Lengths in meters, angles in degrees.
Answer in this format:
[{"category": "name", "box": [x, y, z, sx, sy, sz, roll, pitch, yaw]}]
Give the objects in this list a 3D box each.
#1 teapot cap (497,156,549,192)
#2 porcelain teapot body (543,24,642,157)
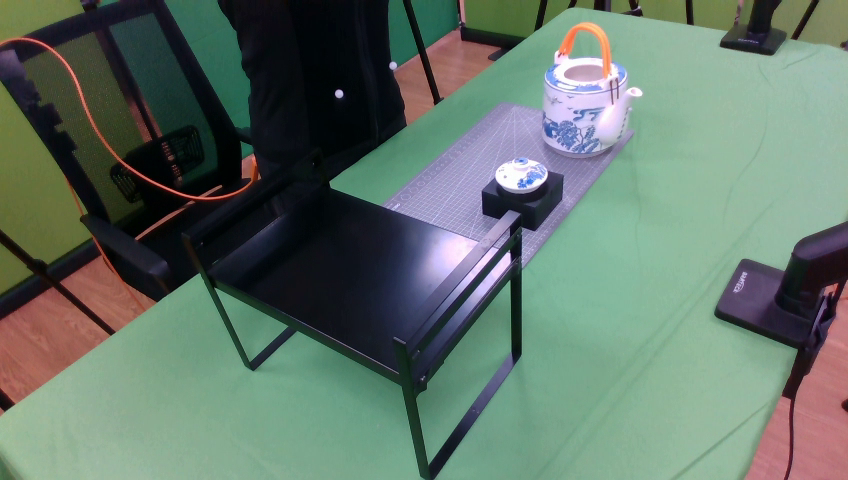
[{"category": "teapot cap", "box": [0.161, -0.113, 0.986, 0.085, 0.044, 0.085, -2, 43, 3]}, {"category": "porcelain teapot body", "box": [0.305, -0.258, 1.070, 0.146, 0.226, 0.203, -26, 44, -20]}]
